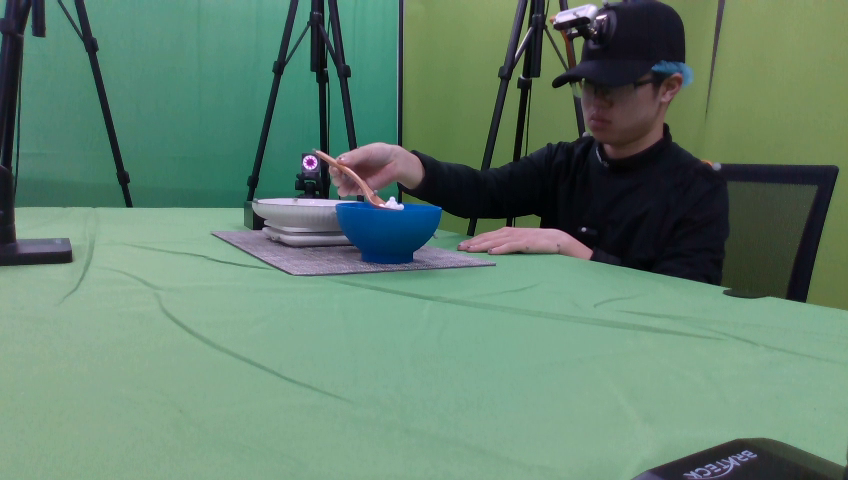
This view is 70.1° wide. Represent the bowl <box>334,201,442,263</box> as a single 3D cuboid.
[{"bbox_3d":[-0.051,-0.012,0.849,0.151,0.077,0.151,2,7,0],"label":"bowl"}]

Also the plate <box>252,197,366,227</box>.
[{"bbox_3d":[-0.179,-0.047,1.012,0.209,0.038,0.209,2,6,0],"label":"plate"}]

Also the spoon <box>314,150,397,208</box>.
[{"bbox_3d":[-0.102,-0.090,0.893,0.193,0.021,0.042,42,22,31],"label":"spoon"}]

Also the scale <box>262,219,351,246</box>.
[{"bbox_3d":[-0.160,-0.015,1.027,0.202,0.031,0.148,-2,8,-32],"label":"scale"}]
